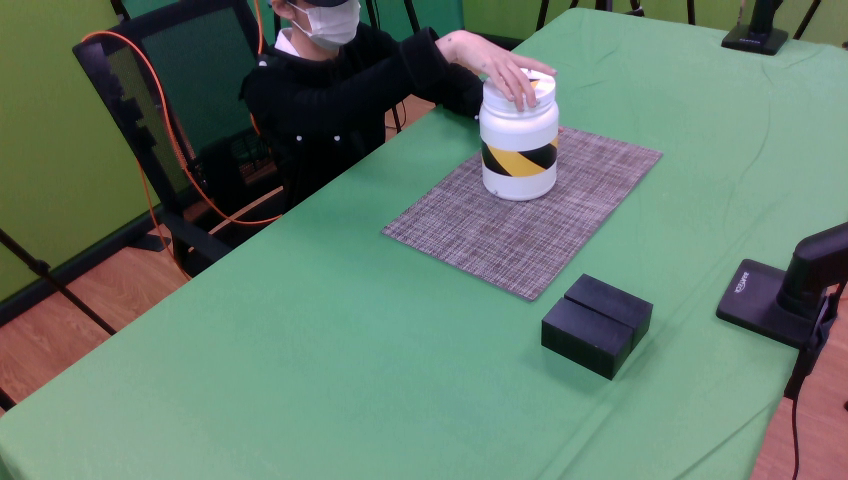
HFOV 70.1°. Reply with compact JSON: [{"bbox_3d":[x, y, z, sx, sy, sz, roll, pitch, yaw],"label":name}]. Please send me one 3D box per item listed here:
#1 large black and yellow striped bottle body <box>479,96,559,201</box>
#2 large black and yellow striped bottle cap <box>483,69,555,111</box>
[{"bbox_3d":[0.161,-0.173,1.023,0.131,0.185,0.130,-5,40,4],"label":"large black and yellow striped bottle body"},{"bbox_3d":[0.152,-0.242,0.966,0.115,0.019,0.114,-4,41,4],"label":"large black and yellow striped bottle cap"}]
